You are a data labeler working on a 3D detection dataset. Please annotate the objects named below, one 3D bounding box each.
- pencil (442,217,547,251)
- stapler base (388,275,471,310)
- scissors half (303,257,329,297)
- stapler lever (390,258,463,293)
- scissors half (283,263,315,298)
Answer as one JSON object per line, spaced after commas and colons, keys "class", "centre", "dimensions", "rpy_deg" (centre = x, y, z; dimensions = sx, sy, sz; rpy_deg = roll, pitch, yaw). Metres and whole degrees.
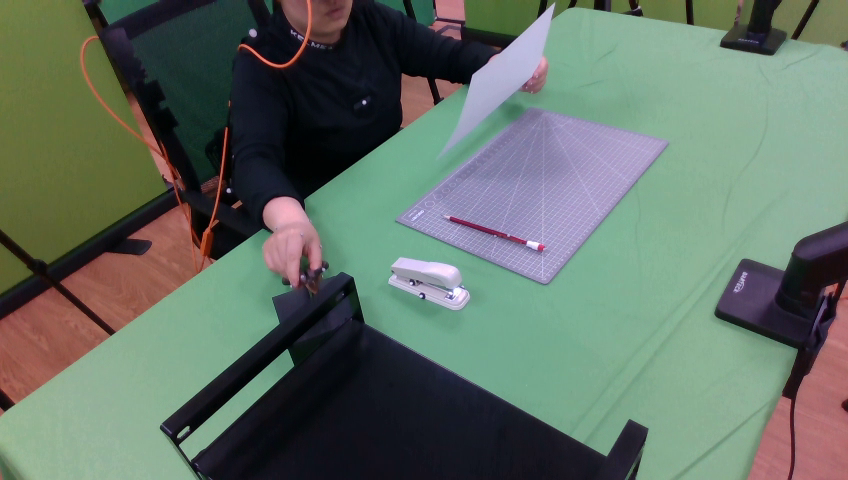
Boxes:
{"class": "pencil", "centre": [0.110, -0.012, 0.979], "dimensions": [0.192, 0.012, 0.012], "rpy_deg": [18, 46, 30]}
{"class": "stapler base", "centre": [0.007, 0.066, 0.897], "dimensions": [0.129, 0.024, 0.041], "rpy_deg": [17, 43, 29]}
{"class": "scissors half", "centre": [-0.157, 0.053, 0.867], "dimensions": [0.040, 0.013, 0.174], "rpy_deg": [-19, 16, -3]}
{"class": "stapler lever", "centre": [0.003, 0.046, 0.881], "dimensions": [0.117, 0.040, 0.027], "rpy_deg": [17, 44, 29]}
{"class": "scissors half", "centre": [-0.175, 0.060, 0.864], "dimensions": [0.040, 0.013, 0.174], "rpy_deg": [-28, 17, -15]}
